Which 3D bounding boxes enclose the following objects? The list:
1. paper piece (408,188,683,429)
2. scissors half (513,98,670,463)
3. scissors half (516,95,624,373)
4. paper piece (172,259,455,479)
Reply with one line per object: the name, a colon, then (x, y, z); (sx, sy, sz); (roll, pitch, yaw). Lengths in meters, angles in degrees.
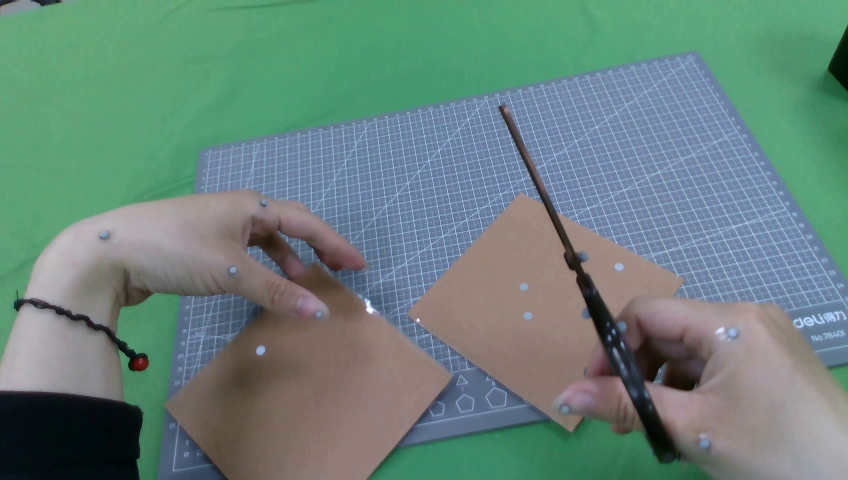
paper piece: (0.081, 0.036, 0.408); (0.134, 0.004, 0.135); (33, 65, 29)
scissors half: (0.073, 0.022, 0.259); (0.013, 0.175, 0.040); (-22, 9, 11)
scissors half: (0.075, 0.014, 0.277); (0.013, 0.176, 0.039); (-20, 26, 16)
paper piece: (-0.074, 0.094, 0.385); (0.135, 0.009, 0.138); (35, 74, 31)
